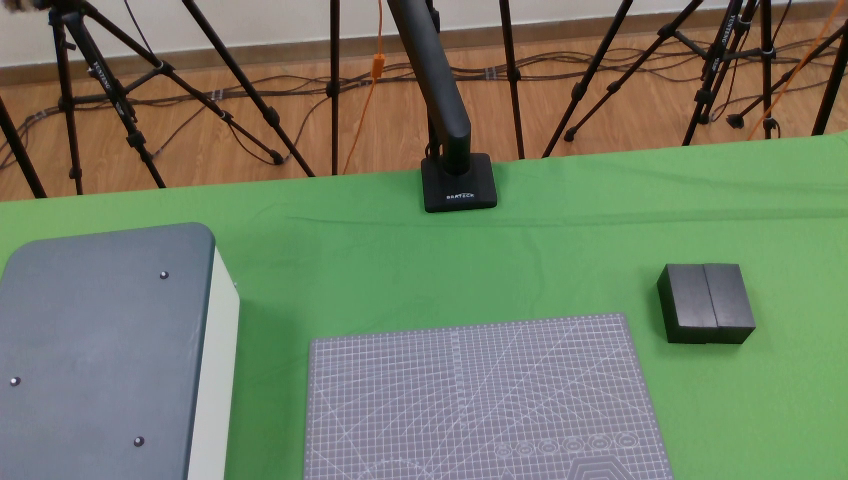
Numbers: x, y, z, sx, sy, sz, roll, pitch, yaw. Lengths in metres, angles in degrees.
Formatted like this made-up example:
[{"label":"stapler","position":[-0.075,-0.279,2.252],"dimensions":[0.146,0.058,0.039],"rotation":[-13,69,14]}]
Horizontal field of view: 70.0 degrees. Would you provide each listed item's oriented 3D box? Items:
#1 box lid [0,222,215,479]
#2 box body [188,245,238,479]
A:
[{"label":"box lid","position":[-0.382,0.136,0.684],"dimensions":[0.263,0.015,0.367],"rotation":[-6,56,-2]},{"label":"box body","position":[-0.379,0.181,0.744],"dimensions":[0.254,0.162,0.360],"rotation":[-6,55,-2]}]
